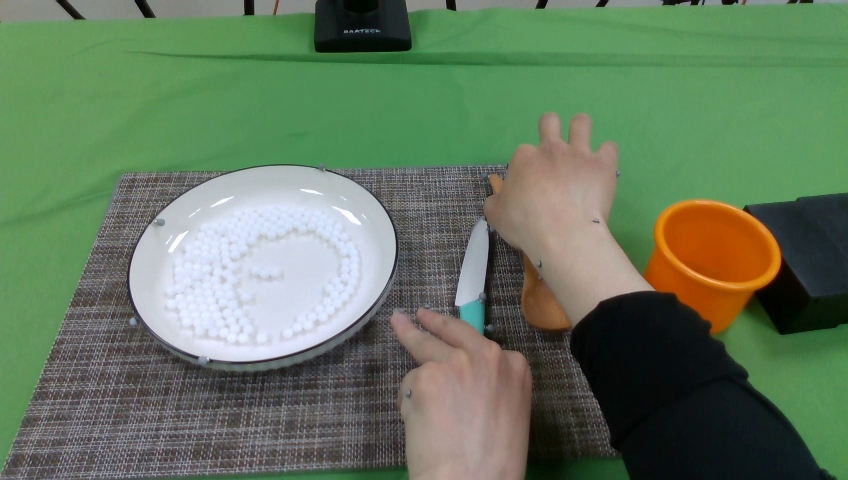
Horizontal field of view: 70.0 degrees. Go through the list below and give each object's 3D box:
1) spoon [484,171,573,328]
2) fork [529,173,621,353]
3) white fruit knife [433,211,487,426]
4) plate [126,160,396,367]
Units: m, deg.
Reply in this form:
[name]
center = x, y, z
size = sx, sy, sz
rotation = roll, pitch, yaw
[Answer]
[spoon]
center = 0.083, 0.000, 0.524
size = 0.042, 0.022, 0.191
rotation = -5, 49, -10
[fork]
center = 0.122, 0.011, 0.520
size = 0.028, 0.019, 0.205
rotation = -9, 51, -3
[white fruit knife]
center = 0.036, 0.050, 0.482
size = 0.027, 0.016, 0.205
rotation = 0, 49, 14
[plate]
center = -0.126, 0.015, 0.492
size = 0.209, 0.038, 0.207
rotation = 1, 48, -1
